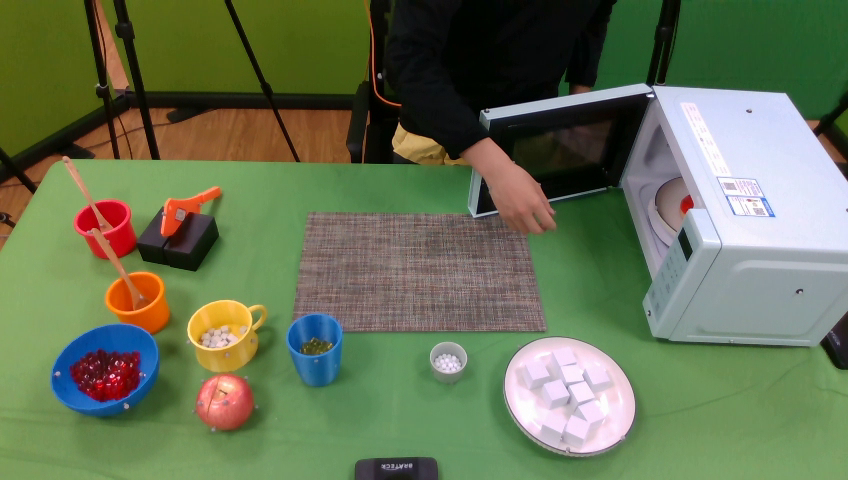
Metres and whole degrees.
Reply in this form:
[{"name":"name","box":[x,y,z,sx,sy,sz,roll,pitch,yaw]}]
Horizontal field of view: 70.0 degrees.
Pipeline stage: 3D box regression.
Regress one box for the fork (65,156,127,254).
[{"name":"fork","box":[-0.614,-0.064,1.130,0.028,0.018,0.207,-29,97,-17]}]

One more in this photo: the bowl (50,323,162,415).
[{"name":"bowl","box":[-0.472,0.209,0.924,0.151,0.077,0.150,2,45,-2]}]

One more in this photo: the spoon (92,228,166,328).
[{"name":"spoon","box":[-0.495,0.063,1.014,0.041,0.194,0.021,-34,13,-32]}]

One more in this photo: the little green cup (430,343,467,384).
[{"name":"little green cup","box":[0.039,0.203,0.993,0.061,0.039,0.061,2,46,-2]}]

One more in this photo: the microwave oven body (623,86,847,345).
[{"name":"microwave oven body","box":[0.567,-0.053,1.118,0.326,0.261,0.439,2,45,-1]}]

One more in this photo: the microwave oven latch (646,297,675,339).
[{"name":"microwave oven latch","box":[0.412,0.134,1.061,0.030,0.029,0.078,4,45,1]}]

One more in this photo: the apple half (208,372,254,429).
[{"name":"apple half","box":[-0.283,0.244,0.908,0.053,0.075,0.080,7,43,-2]}]

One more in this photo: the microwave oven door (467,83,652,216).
[{"name":"microwave oven door","box":[0.267,-0.180,1.213,0.356,0.245,0.039,-13,49,-15]}]

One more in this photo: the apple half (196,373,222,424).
[{"name":"apple half","box":[-0.322,0.239,0.907,0.033,0.081,0.081,7,46,-1]}]

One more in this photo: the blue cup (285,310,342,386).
[{"name":"blue cup","box":[-0.169,0.179,0.958,0.093,0.101,0.092,1,44,-1]}]

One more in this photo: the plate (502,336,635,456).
[{"name":"plate","box":[0.225,0.248,0.963,0.208,0.039,0.206,2,46,-2]}]

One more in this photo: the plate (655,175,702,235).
[{"name":"plate","box":[0.555,-0.047,1.182,0.209,0.038,0.208,1,45,-1]}]

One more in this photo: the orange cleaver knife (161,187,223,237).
[{"name":"orange cleaver knife","box":[-0.448,-0.058,1.180,0.012,0.077,0.211,13,17,6]}]

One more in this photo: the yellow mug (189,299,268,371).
[{"name":"yellow mug","box":[-0.316,0.148,1.002,0.131,0.064,0.099,-33,56,-31]}]
